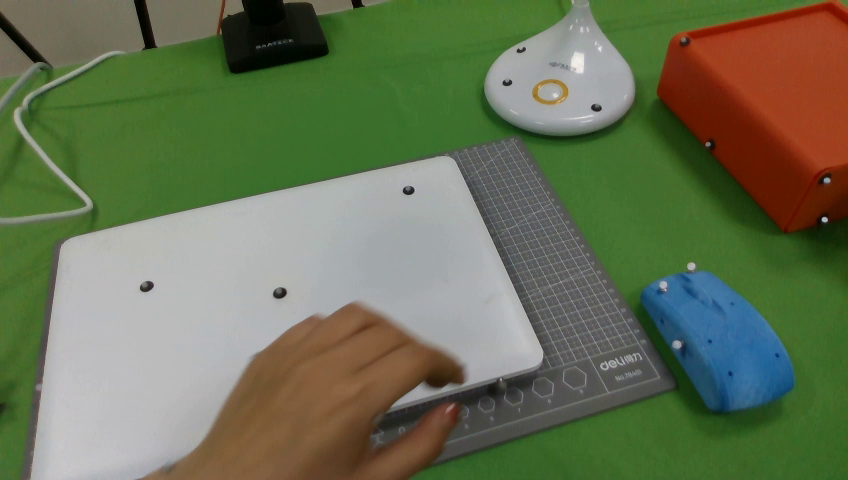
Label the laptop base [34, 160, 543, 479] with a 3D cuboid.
[{"bbox_3d":[-0.111,0.052,0.485,0.355,0.023,0.233,-13,53,-9],"label":"laptop base"}]

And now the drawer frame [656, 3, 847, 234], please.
[{"bbox_3d":[0.367,-0.122,0.568,0.202,0.083,0.211,-16,49,-9],"label":"drawer frame"}]

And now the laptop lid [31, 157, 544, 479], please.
[{"bbox_3d":[-0.111,0.046,0.475,0.357,0.013,0.239,-12,51,-7],"label":"laptop lid"}]

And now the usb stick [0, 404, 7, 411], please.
[{"bbox_3d":[-0.332,0.116,0.431,0.059,0.021,0.027,-1,84,-13],"label":"usb stick"}]

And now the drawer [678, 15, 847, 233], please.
[{"bbox_3d":[0.368,-0.120,0.568,0.195,0.074,0.209,-15,49,-9],"label":"drawer"}]

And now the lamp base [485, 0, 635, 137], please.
[{"bbox_3d":[0.145,-0.226,0.607,0.160,0.182,0.178,12,48,14],"label":"lamp base"}]

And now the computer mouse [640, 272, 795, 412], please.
[{"bbox_3d":[0.210,0.067,0.441,0.063,0.041,0.116,-14,45,-6],"label":"computer mouse"}]
